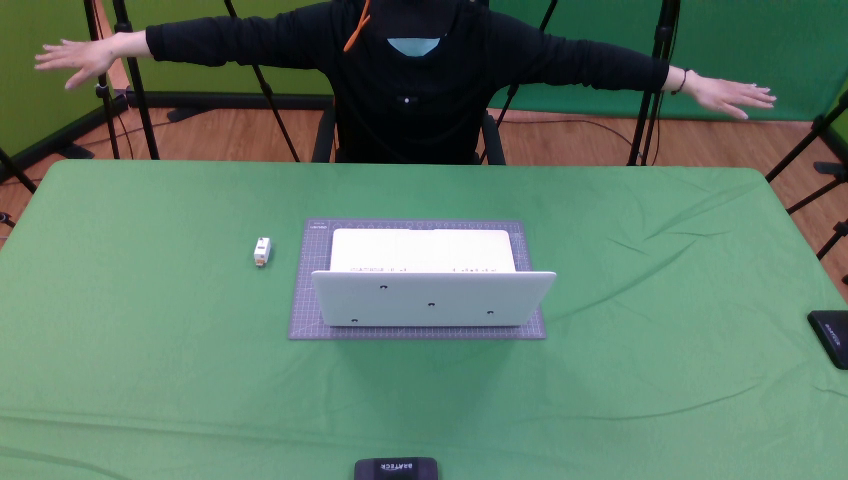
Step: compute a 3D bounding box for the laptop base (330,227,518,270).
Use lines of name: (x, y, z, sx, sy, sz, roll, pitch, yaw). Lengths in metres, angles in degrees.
laptop base: (0.001, 0.063, 1.135, 0.354, 0.023, 0.234, 0, 43, -4)

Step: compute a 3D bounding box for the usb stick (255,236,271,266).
usb stick: (-0.306, 0.022, 1.148, 0.021, 0.027, 0.059, 3, 49, -1)

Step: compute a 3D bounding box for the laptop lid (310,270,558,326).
laptop lid: (0.011, 0.095, 0.948, 0.357, 0.242, 0.013, 1, 64, -5)
